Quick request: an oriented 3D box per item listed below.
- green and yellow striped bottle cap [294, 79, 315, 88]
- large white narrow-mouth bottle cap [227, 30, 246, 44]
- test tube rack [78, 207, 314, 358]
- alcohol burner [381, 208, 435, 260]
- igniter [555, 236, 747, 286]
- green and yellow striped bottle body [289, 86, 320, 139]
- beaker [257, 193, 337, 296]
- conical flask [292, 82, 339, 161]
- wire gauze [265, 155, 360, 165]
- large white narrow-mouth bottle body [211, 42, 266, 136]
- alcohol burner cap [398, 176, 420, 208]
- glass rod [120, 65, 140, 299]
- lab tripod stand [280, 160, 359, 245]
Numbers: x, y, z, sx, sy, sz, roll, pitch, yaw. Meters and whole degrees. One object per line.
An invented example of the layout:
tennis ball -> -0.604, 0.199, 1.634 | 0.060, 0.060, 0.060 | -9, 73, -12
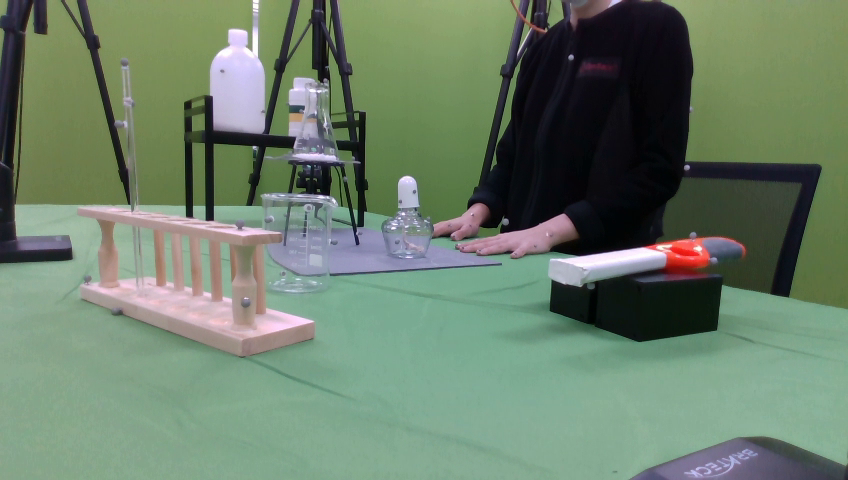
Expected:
green and yellow striped bottle cap -> -0.248, -0.323, 1.256 | 0.045, 0.020, 0.045 | 3, 9, 0
large white narrow-mouth bottle cap -> -0.361, -0.389, 1.165 | 0.038, 0.024, 0.037 | 1, 7, 0
test tube rack -> -0.197, 0.024, 0.500 | 0.241, 0.085, 0.067 | 8, 8, 37
alcohol burner -> -0.023, -0.032, 0.872 | 0.078, 0.119, 0.078 | 0, 6, 0
igniter -> 0.221, 0.017, 0.558 | 0.278, 0.025, 0.057 | -5, 15, -39
green and yellow striped bottle body -> -0.250, -0.272, 1.261 | 0.063, 0.119, 0.063 | 3, 7, 0
beaker -> -0.130, 0.004, 0.628 | 0.084, 0.100, 0.074 | 5, 8, 15
conical flask -> -0.171, -0.185, 0.957 | 0.075, 0.122, 0.075 | 2, 7, 0
wire gauze -> -0.181, -0.128, 0.969 | 0.126, 0.011, 0.121 | -3, 7, -26
large white narrow-mouth bottle body -> -0.361, -0.302, 1.176 | 0.102, 0.194, 0.102 | 1, 7, 0
alcohol burner cap -> -0.023, -0.068, 0.866 | 0.034, 0.048, 0.034 | -4, 8, 1
glass rod -> -0.249, -0.047, 0.513 | 0.008, 0.199, 0.008 | -1, 4, 0
lab tripod stand -> -0.176, -0.062, 0.973 | 0.148, 0.131, 0.148 | 1, 7, 0
